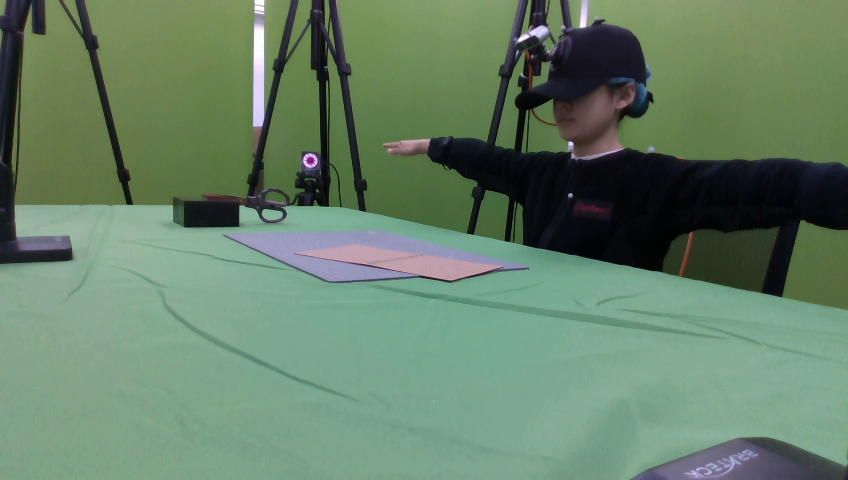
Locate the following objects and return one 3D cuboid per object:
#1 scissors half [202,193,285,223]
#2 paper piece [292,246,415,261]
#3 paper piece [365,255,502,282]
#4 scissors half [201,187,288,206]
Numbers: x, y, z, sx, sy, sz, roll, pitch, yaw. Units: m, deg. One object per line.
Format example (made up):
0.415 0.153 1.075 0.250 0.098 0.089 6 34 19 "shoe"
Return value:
-0.365 -0.069 1.228 0.176 0.040 0.013 18 3 -35 "scissors half"
-0.095 0.020 0.873 0.137 0.008 0.137 7 4 35 "paper piece"
0.014 0.035 0.799 0.135 0.004 0.136 8 10 35 "paper piece"
-0.360 -0.088 1.224 0.176 0.040 0.012 -3 20 -32 "scissors half"
